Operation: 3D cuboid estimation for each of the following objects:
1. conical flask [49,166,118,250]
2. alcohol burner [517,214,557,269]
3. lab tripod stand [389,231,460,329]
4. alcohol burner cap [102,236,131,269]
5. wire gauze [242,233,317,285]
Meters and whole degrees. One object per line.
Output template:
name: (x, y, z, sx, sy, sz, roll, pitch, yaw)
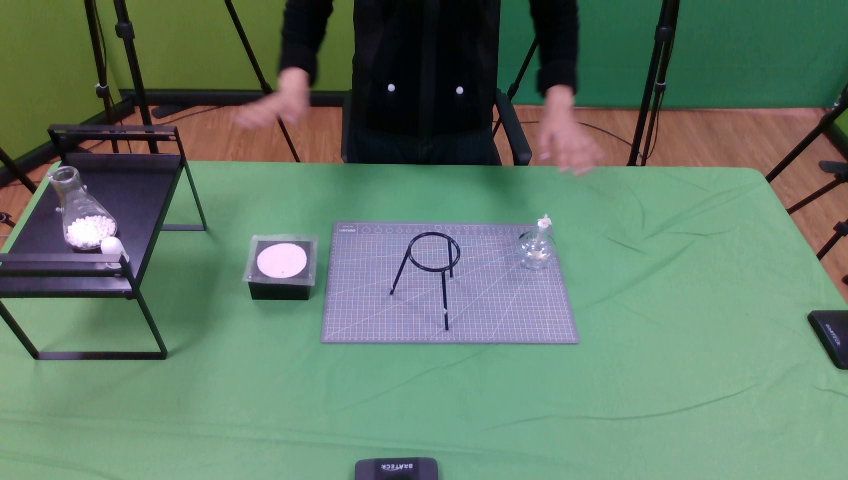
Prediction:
conical flask: (-0.505, -0.051, 0.888, 0.075, 0.122, 0.075, 2, 45, -2)
alcohol burner: (0.217, -0.002, 1.149, 0.078, 0.120, 0.077, 2, 44, -2)
lab tripod stand: (0.015, 0.063, 1.058, 0.148, 0.132, 0.147, 4, 46, -4)
alcohol burner cap: (-0.451, 0.016, 0.883, 0.034, 0.048, 0.033, 3, 44, -3)
wire gauze: (-0.257, 0.032, 1.088, 0.125, 0.011, 0.120, 1, 44, -5)
